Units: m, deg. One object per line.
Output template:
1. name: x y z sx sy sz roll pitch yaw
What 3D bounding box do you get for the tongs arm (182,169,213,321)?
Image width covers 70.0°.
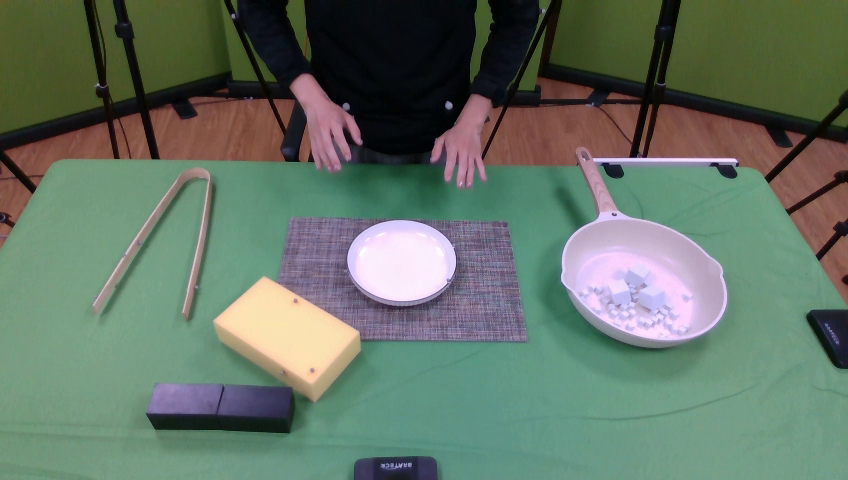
1. tongs arm: -0.436 -0.005 1.166 0.028 0.028 0.385 -5 46 -6

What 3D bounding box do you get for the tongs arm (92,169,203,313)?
1. tongs arm: -0.517 -0.012 1.160 0.051 0.026 0.382 7 45 1

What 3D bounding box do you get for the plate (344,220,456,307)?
1. plate: -0.044 0.047 1.133 0.208 0.039 0.206 3 46 -2

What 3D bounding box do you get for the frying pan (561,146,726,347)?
1. frying pan: 0.378 -0.005 1.175 0.307 0.103 0.484 -4 55 -9

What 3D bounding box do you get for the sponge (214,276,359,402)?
1. sponge: -0.225 0.158 0.998 0.206 0.061 0.118 27 52 18
